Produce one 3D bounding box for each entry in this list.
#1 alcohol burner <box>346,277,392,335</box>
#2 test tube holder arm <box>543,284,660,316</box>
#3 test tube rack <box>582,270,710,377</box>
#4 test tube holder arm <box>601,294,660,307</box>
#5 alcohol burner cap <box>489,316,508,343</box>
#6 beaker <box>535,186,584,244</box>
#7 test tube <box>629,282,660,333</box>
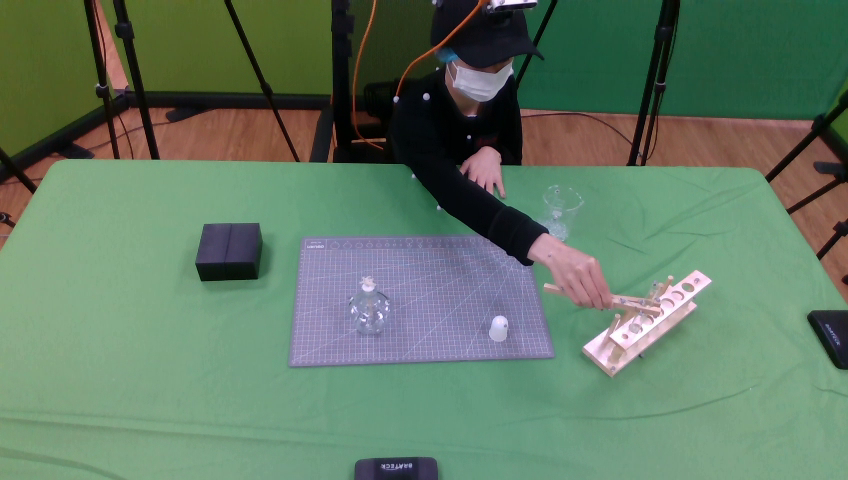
[{"bbox_3d":[-0.093,0.106,1.021,0.078,0.120,0.077,1,46,-1],"label":"alcohol burner"},{"bbox_3d":[0.277,0.093,0.951,0.178,0.015,0.013,10,45,16],"label":"test tube holder arm"},{"bbox_3d":[0.389,0.132,1.057,0.242,0.085,0.066,-28,54,-28],"label":"test tube rack"},{"bbox_3d":[0.321,0.095,0.944,0.088,0.015,0.010,4,44,10],"label":"test tube holder arm"},{"bbox_3d":[0.130,0.151,1.045,0.034,0.048,0.033,2,47,-2],"label":"alcohol burner cap"},{"bbox_3d":[0.268,-0.048,1.213,0.084,0.101,0.073,6,46,0],"label":"beaker"},{"bbox_3d":[0.342,0.117,0.954,0.017,0.151,0.017,1,48,-1],"label":"test tube"}]
